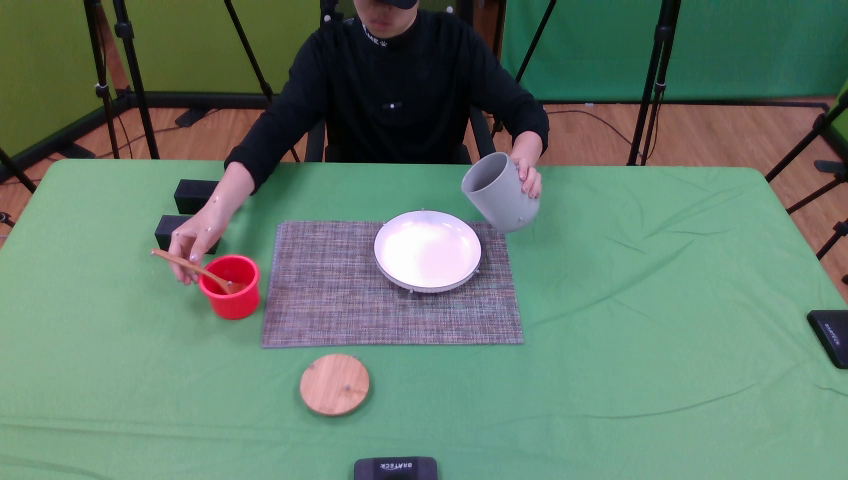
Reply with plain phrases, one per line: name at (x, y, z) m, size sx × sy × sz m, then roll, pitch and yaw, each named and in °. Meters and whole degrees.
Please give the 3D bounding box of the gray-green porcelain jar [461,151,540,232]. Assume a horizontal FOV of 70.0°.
gray-green porcelain jar at (0.147, -0.085, 1.128) m, size 0.106 × 0.127 × 0.105 m, roll -31°, pitch 32°, yaw 22°

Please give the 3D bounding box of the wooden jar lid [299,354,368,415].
wooden jar lid at (-0.143, 0.232, 0.964) m, size 0.108 × 0.021 × 0.107 m, roll 2°, pitch 45°, yaw -2°

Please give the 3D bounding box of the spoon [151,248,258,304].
spoon at (-0.369, 0.059, 1.028) m, size 0.195 × 0.021 × 0.041 m, roll 36°, pitch 35°, yaw -32°

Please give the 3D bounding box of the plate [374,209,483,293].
plate at (0.008, 0.024, 1.158) m, size 0.208 × 0.039 × 0.206 m, roll 2°, pitch 46°, yaw -2°
